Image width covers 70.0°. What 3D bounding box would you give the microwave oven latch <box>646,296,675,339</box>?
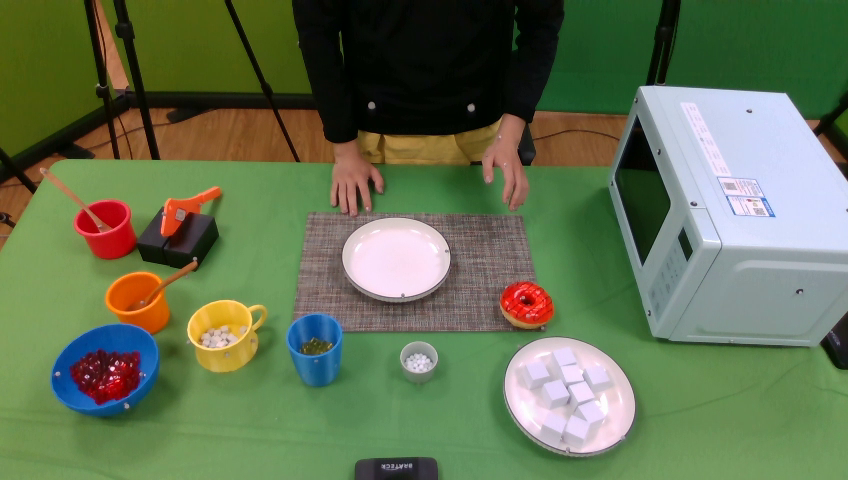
[{"bbox_3d":[0.412,0.134,1.061,0.030,0.029,0.078,4,45,1],"label":"microwave oven latch"}]

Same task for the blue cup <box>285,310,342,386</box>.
[{"bbox_3d":[-0.170,0.179,0.958,0.093,0.101,0.092,2,44,-1],"label":"blue cup"}]

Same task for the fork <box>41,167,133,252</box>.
[{"bbox_3d":[-0.624,-0.056,1.121,0.208,0.018,0.028,49,52,-15],"label":"fork"}]

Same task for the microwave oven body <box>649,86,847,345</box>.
[{"bbox_3d":[0.568,-0.053,1.118,0.326,0.261,0.439,2,45,-1],"label":"microwave oven body"}]

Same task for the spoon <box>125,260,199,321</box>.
[{"bbox_3d":[-0.434,0.083,0.999,0.022,0.194,0.041,35,34,-34],"label":"spoon"}]

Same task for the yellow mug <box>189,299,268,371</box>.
[{"bbox_3d":[-0.316,0.148,1.002,0.131,0.064,0.099,-32,56,-31],"label":"yellow mug"}]

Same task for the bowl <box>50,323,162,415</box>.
[{"bbox_3d":[-0.472,0.209,0.924,0.151,0.077,0.150,3,45,-2],"label":"bowl"}]

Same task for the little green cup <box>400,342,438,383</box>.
[{"bbox_3d":[-0.010,0.202,0.991,0.061,0.039,0.061,2,47,-2],"label":"little green cup"}]

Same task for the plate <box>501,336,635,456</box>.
[{"bbox_3d":[0.225,0.248,0.963,0.208,0.039,0.206,2,46,-2],"label":"plate"}]

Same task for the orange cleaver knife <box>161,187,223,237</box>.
[{"bbox_3d":[-0.448,-0.058,1.181,0.012,0.077,0.211,13,17,6],"label":"orange cleaver knife"}]

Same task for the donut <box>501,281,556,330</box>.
[{"bbox_3d":[0.185,0.116,1.079,0.099,0.048,0.098,3,45,-3],"label":"donut"}]

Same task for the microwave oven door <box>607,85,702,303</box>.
[{"bbox_3d":[0.423,-0.094,1.141,0.039,0.245,0.353,2,46,-1],"label":"microwave oven door"}]

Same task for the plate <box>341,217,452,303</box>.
[{"bbox_3d":[-0.052,0.040,1.140,0.209,0.038,0.208,2,46,-2],"label":"plate"}]
